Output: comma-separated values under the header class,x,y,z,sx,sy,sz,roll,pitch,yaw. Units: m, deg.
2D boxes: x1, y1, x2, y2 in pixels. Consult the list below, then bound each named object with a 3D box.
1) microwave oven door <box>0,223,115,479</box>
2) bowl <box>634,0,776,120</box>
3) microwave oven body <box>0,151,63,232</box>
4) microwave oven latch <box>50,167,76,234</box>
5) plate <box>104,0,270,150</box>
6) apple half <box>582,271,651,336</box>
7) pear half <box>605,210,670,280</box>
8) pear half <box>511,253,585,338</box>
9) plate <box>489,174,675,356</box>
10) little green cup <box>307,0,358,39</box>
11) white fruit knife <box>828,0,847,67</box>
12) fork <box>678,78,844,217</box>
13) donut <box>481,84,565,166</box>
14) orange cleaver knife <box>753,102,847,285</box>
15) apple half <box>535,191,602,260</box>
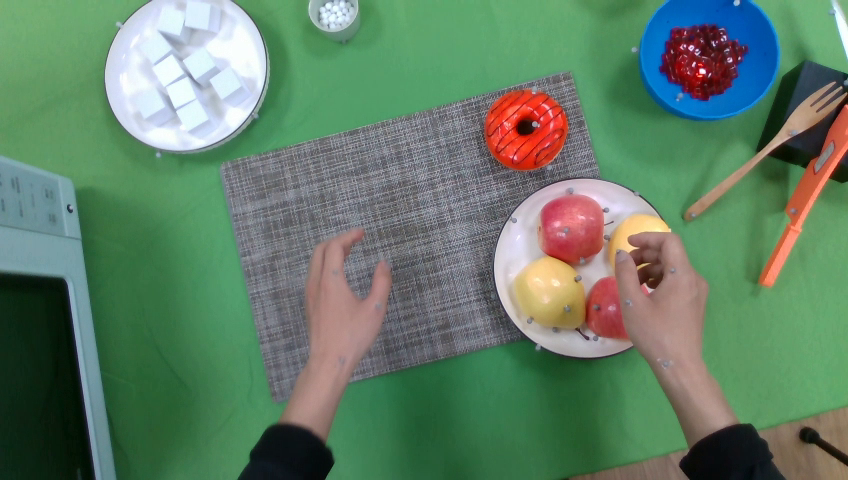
class,x,y,z,sx,sy,sz,roll,pitch,yaw
microwave oven door,-0.414,0.157,0.613,0.039,0.244,0.354,-12,84,3
bowl,0.310,-0.204,0.698,0.151,0.077,0.151,0,85,4
microwave oven body,-0.564,0.145,0.629,0.326,0.261,0.440,-12,85,2
microwave oven latch,-0.447,-0.047,0.735,0.030,0.029,0.079,-10,85,2
plate,-0.291,-0.212,0.759,0.207,0.039,0.207,0,85,4
apple half,0.210,0.072,0.677,0.081,0.033,0.081,-1,88,30
pear half,0.238,0.010,0.686,0.070,0.031,0.088,18,99,31
pear half,0.151,0.068,0.686,0.076,0.056,0.110,-42,88,4
plate,0.180,0.028,0.702,0.209,0.038,0.208,0,85,4
little green cup,-0.111,-0.282,0.753,0.061,0.039,0.061,0,84,4
white fruit knife,0.477,-0.176,0.666,0.027,0.016,0.206,-9,81,-26
fork,0.371,-0.097,0.680,0.028,0.018,0.207,44,109,-2
donut,0.116,-0.136,0.718,0.099,0.048,0.099,0,86,7
orange cleaver knife,0.420,-0.050,0.675,0.012,0.077,0.212,22,112,11
apple half,0.166,-0.018,0.690,0.074,0.053,0.080,3,88,5
